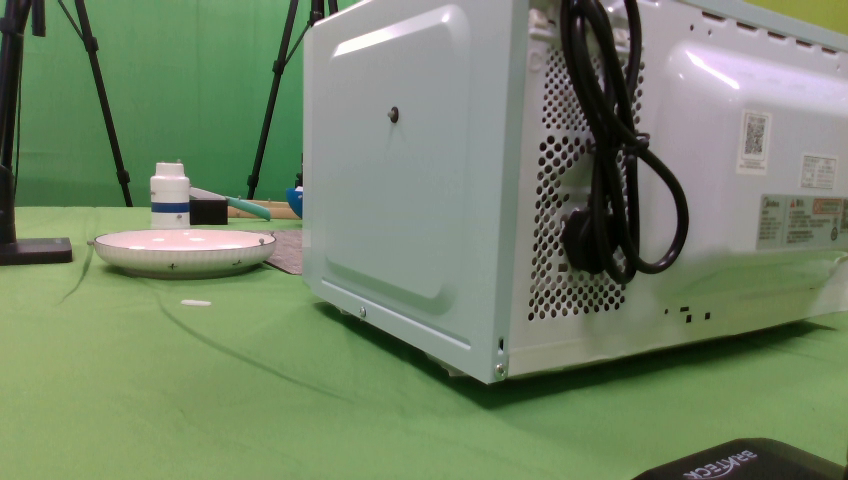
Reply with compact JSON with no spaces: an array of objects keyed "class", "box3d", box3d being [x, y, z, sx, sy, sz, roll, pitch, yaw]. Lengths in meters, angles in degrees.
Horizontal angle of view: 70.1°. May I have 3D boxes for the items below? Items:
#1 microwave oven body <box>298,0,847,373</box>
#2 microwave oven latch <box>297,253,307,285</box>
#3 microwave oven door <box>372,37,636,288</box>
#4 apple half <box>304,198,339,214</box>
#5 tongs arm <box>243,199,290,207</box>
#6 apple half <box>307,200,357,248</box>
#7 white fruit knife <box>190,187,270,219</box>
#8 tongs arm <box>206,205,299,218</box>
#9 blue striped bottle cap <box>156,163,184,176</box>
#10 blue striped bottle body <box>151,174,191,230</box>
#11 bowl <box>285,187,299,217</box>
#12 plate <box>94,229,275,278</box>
[{"class":"microwave oven body","box3d":[0.151,-0.055,0.542,0.444,0.260,0.324,-1,7,-33]},{"class":"microwave oven latch","box3d":[-0.082,0.027,0.582,0.079,0.029,0.030,-2,7,-33]},{"class":"microwave oven door","box3d":[0.110,-0.080,0.686,0.358,0.243,0.039,-2,9,-33]},{"class":"apple half","box3d":[-0.217,-0.073,1.275,0.081,0.033,0.081,2,9,0]},{"class":"tongs arm","box3d":[-0.309,-0.079,1.487,0.385,0.026,0.050,3,7,-1]},{"class":"apple half","box3d":[-0.136,-0.024,0.942,0.053,0.074,0.081,15,10,38]},{"class":"white fruit knife","box3d":[-0.413,-0.081,1.270,0.208,0.027,0.016,17,14,-41]},{"class":"tongs arm","box3d":[-0.302,-0.065,1.407,0.389,0.028,0.028,1,4,-15]},{"class":"blue striped bottle cap","box3d":[-0.438,-0.122,1.045,0.044,0.020,0.044,5,6,0]},{"class":"blue striped bottle body","box3d":[-0.439,-0.071,1.052,0.063,0.120,0.063,2,7,0]},{"class":"bowl","box3d":[-0.218,-0.069,1.274,0.151,0.077,0.151,3,8,0]},{"class":"plate","box3d":[-0.291,0.016,0.749,0.208,0.039,0.207,2,7,0]}]
